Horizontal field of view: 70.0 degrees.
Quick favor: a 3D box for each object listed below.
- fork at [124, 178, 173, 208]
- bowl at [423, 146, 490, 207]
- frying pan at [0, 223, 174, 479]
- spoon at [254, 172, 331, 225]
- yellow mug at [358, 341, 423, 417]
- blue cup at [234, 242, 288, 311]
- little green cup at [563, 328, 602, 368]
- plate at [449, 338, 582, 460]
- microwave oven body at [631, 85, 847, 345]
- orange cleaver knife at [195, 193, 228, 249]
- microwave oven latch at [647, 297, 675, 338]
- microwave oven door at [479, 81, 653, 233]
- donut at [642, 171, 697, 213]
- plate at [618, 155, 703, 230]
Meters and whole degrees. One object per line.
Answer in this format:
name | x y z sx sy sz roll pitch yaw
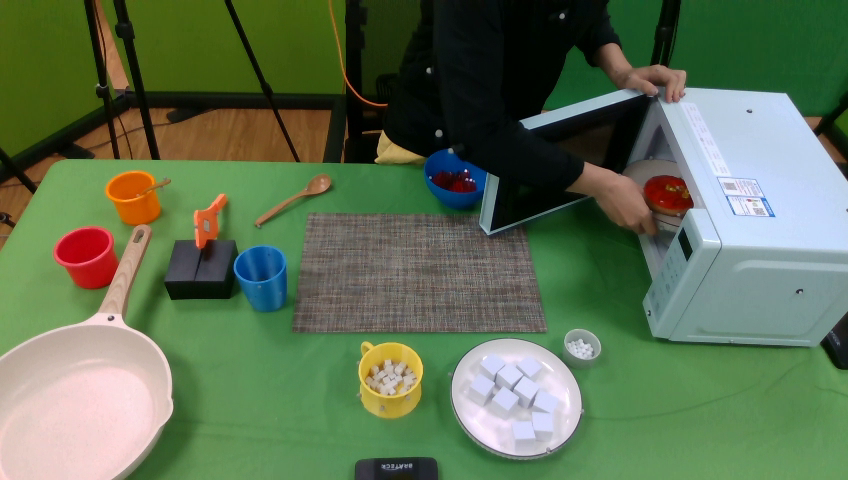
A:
fork | -0.525 -0.090 1.154 0.207 0.019 0.028 -17 27 45
bowl | 0.073 -0.123 1.277 0.151 0.077 0.150 2 46 -2
frying pan | -0.505 0.169 0.941 0.307 0.103 0.485 5 54 -1
spoon | -0.272 -0.087 1.257 0.041 0.022 0.193 46 57 12
yellow mug | -0.062 0.209 0.961 0.100 0.064 0.130 -29 54 -27
blue cup | -0.276 0.071 1.052 0.092 0.101 0.092 1 48 -1
little green cup | 0.266 0.185 1.025 0.061 0.039 0.061 1 45 -1
plate | 0.141 0.251 0.955 0.208 0.039 0.206 2 46 -2
microwave oven body | 0.568 -0.054 1.116 0.326 0.261 0.439 2 46 -1
orange cleaver knife | -0.406 -0.041 1.163 0.012 0.077 0.210 -1 18 -3
microwave oven latch | 0.413 0.133 1.060 0.030 0.029 0.078 5 46 2
microwave oven door | 0.279 -0.164 1.193 0.356 0.245 0.039 -20 51 -21
donut | 0.469 -0.094 1.162 0.099 0.048 0.098 -2 47 2
plate | 0.476 -0.087 1.171 0.209 0.038 0.208 5 43 -4
